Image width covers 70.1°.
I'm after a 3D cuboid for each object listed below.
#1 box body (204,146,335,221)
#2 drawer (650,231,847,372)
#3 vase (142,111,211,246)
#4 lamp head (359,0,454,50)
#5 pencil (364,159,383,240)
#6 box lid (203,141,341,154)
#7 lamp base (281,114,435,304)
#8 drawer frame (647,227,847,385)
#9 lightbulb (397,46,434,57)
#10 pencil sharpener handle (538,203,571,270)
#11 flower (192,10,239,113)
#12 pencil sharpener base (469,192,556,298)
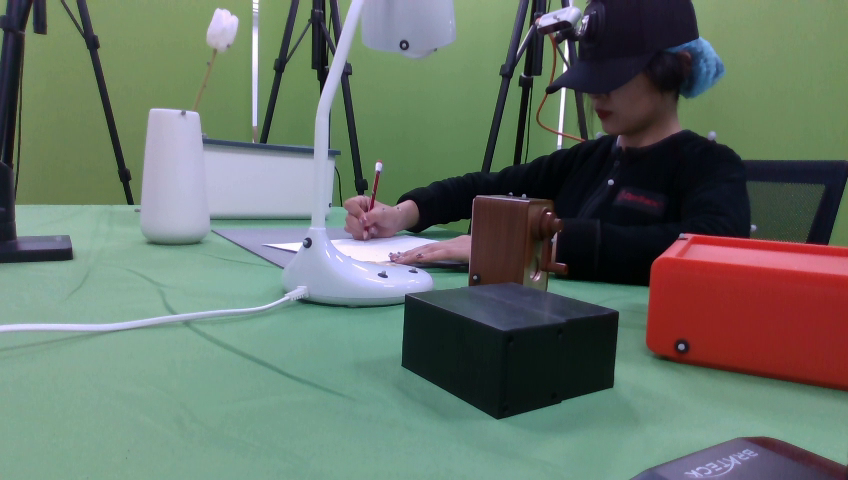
[{"bbox_3d":[-0.410,-0.135,1.386,0.366,0.160,0.253,-2,9,-29],"label":"box body"},{"bbox_3d":[0.303,0.044,0.499,0.194,0.073,0.212,7,9,27],"label":"drawer"},{"bbox_3d":[-0.378,-0.093,0.920,0.098,0.200,0.098,2,9,0],"label":"vase"},{"bbox_3d":[-0.024,-0.282,0.674,0.112,0.123,0.112,-3,38,3],"label":"lamp head"},{"bbox_3d":[-0.088,-0.073,1.046,0.012,0.012,0.193,3,49,4],"label":"pencil"},{"bbox_3d":[-0.396,-0.212,1.373,0.373,0.015,0.262,-1,9,-29],"label":"box lid"},{"bbox_3d":[-0.071,-0.034,0.614,0.160,0.180,0.180,6,10,27],"label":"lamp base"},{"bbox_3d":[0.303,0.043,0.495,0.201,0.082,0.214,6,9,26],"label":"drawer frame"},{"bbox_3d":[-0.017,-0.264,0.692,0.059,0.108,0.059,-9,29,5],"label":"lightbulb"},{"bbox_3d":[0.137,-0.003,0.619,0.030,0.067,0.036,8,6,38],"label":"pencil sharpener handle"},{"bbox_3d":[-0.354,-0.174,0.915,0.038,0.361,0.044,18,-3,12],"label":"flower"},{"bbox_3d":[0.097,0.003,0.652,0.076,0.107,0.061,8,9,38],"label":"pencil sharpener base"}]
